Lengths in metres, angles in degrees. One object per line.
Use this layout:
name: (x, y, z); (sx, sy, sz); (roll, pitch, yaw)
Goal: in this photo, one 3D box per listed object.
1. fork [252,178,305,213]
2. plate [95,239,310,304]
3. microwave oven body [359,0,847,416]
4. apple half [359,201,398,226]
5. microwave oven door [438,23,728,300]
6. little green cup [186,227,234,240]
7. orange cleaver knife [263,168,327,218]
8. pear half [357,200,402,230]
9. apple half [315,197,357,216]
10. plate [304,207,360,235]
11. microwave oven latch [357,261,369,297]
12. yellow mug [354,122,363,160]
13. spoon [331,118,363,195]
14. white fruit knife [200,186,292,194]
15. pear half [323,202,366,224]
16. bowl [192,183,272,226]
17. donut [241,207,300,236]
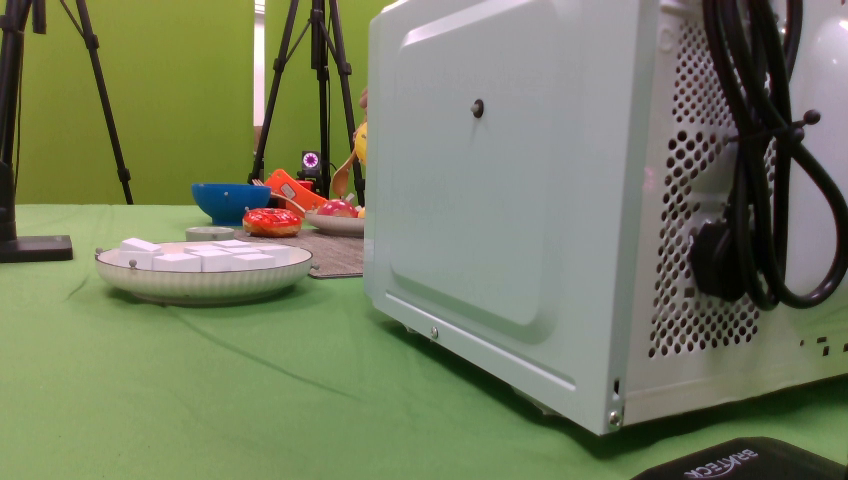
fork: (-0.295, -0.084, 1.292); (0.206, 0.018, 0.028); (29, 10, 25)
plate: (-0.224, 0.031, 0.629); (0.208, 0.039, 0.207); (3, 8, 0)
microwave oven body: (0.211, -0.047, 0.474); (0.444, 0.260, 0.324); (-1, 7, -28)
apple half: (-0.088, -0.058, 1.190); (0.081, 0.033, 0.081); (9, 29, -5)
microwave oven door: (0.181, -0.072, 0.621); (0.358, 0.243, 0.039); (-2, 8, -29)
little green cup: (-0.285, 0.005, 0.805); (0.061, 0.038, 0.061); (2, 8, 0)
orange cleaver knife: (-0.263, -0.087, 1.353); (0.211, 0.077, 0.012); (28, 13, -1)
pear half: (-0.074, -0.046, 1.132); (0.076, 0.056, 0.110); (12, 7, 31)
apple half: (-0.162, -0.052, 1.121); (0.081, 0.053, 0.074); (4, 7, -14)
plate: (-0.123, -0.037, 1.149); (0.209, 0.038, 0.209); (2, 7, 0)
microwave oven latch: (-0.019, 0.033, 0.530); (0.079, 0.029, 0.030); (-1, 7, -26)
yellow mug: (-0.071, -0.183, 1.077); (0.100, 0.131, 0.063); (-17, 30, -18)
spoon: (-0.144, -0.181, 1.222); (0.021, 0.193, 0.042); (16, -10, 42)
white fruit knife: (-0.399, -0.111, 1.368); (0.208, 0.016, 0.027); (-4, -19, -30)
pear half: (-0.155, -0.056, 1.200); (0.088, 0.031, 0.070); (12, 26, -2)
bowl: (-0.381, -0.071, 1.202); (0.151, 0.077, 0.151); (3, 7, 0)
donut: (-0.263, -0.031, 1.039); (0.099, 0.048, 0.099); (5, 10, 0)
